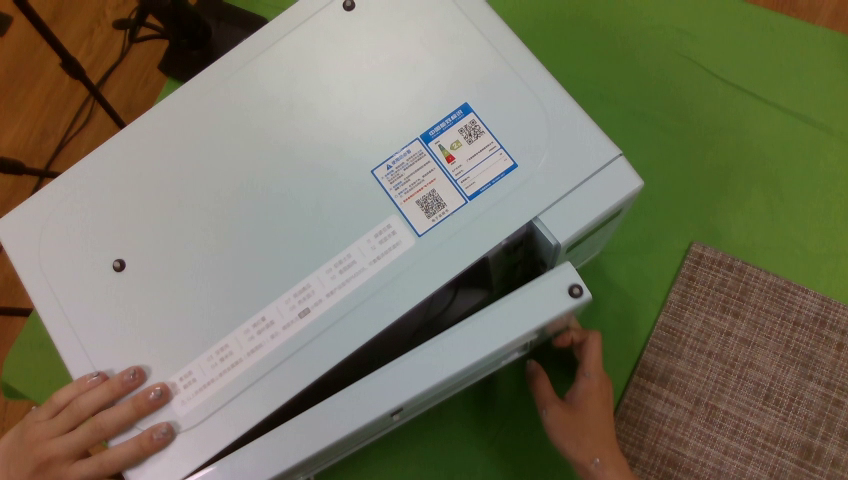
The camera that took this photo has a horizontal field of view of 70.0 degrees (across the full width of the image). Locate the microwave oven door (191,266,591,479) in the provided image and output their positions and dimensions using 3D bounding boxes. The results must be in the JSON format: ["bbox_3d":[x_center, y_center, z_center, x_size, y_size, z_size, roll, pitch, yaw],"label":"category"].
[{"bbox_3d":[-0.025,0.137,0.542,0.356,0.245,0.039,-30,74,1],"label":"microwave oven door"}]

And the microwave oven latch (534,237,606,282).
[{"bbox_3d":[0.156,0.013,0.650,0.079,0.029,0.030,-35,76,0],"label":"microwave oven latch"}]

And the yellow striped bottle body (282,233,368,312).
[{"bbox_3d":[-0.097,0.032,0.589,0.063,0.121,0.062,-2,76,7],"label":"yellow striped bottle body"}]

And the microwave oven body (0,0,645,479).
[{"bbox_3d":[-0.086,-0.018,0.590,0.441,0.261,0.324,-37,76,0],"label":"microwave oven body"}]
